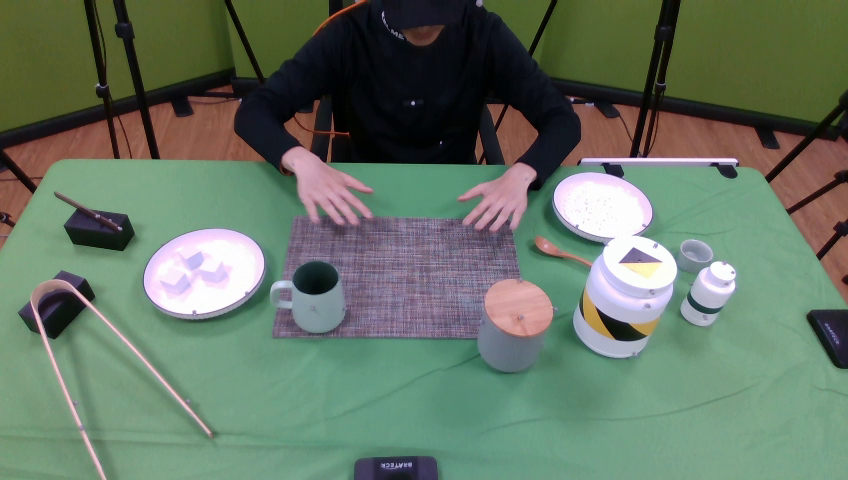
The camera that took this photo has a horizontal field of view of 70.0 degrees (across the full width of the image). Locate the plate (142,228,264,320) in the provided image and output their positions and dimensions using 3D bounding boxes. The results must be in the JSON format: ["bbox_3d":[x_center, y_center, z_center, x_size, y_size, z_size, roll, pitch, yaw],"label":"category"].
[{"bbox_3d":[-0.394,0.064,1.095,0.208,0.039,0.206,2,46,-2],"label":"plate"}]

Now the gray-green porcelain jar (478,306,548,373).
[{"bbox_3d":[0.144,0.148,0.989,0.106,0.127,0.105,2,50,-2],"label":"gray-green porcelain jar"}]

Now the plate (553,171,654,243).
[{"bbox_3d":[0.373,-0.066,1.274,0.209,0.038,0.208,2,46,-2],"label":"plate"}]

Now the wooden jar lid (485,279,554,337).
[{"bbox_3d":[0.147,0.108,0.940,0.108,0.021,0.107,4,47,-4],"label":"wooden jar lid"}]

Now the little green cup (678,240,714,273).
[{"bbox_3d":[0.530,0.033,1.190,0.061,0.039,0.061,2,46,-1],"label":"little green cup"}]

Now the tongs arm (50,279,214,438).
[{"bbox_3d":[-0.459,0.178,0.949,0.386,0.028,0.028,37,60,17],"label":"tongs arm"}]

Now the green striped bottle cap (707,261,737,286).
[{"bbox_3d":[0.510,0.057,1.036,0.044,0.020,0.044,0,45,0],"label":"green striped bottle cap"}]

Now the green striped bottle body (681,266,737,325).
[{"bbox_3d":[0.507,0.093,1.074,0.063,0.120,0.063,2,46,-2],"label":"green striped bottle body"}]

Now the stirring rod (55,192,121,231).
[{"bbox_3d":[-0.632,-0.055,1.138,0.175,0.014,0.006,24,50,19],"label":"stirring rod"}]

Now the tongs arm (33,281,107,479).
[{"bbox_3d":[-0.517,0.214,0.910,0.051,0.026,0.383,-29,63,-26],"label":"tongs arm"}]

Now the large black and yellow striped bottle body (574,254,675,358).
[{"bbox_3d":[0.335,0.096,1.014,0.131,0.185,0.130,2,46,-2],"label":"large black and yellow striped bottle body"}]

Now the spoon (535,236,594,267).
[{"bbox_3d":[0.303,0.040,1.178,0.193,0.022,0.041,25,31,19],"label":"spoon"}]

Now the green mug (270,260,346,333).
[{"bbox_3d":[-0.198,0.097,1.026,0.125,0.105,0.092,0,46,-3],"label":"green mug"}]

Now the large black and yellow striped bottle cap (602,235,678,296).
[{"bbox_3d":[0.340,0.037,0.955,0.115,0.019,0.114,2,47,-1],"label":"large black and yellow striped bottle cap"}]
